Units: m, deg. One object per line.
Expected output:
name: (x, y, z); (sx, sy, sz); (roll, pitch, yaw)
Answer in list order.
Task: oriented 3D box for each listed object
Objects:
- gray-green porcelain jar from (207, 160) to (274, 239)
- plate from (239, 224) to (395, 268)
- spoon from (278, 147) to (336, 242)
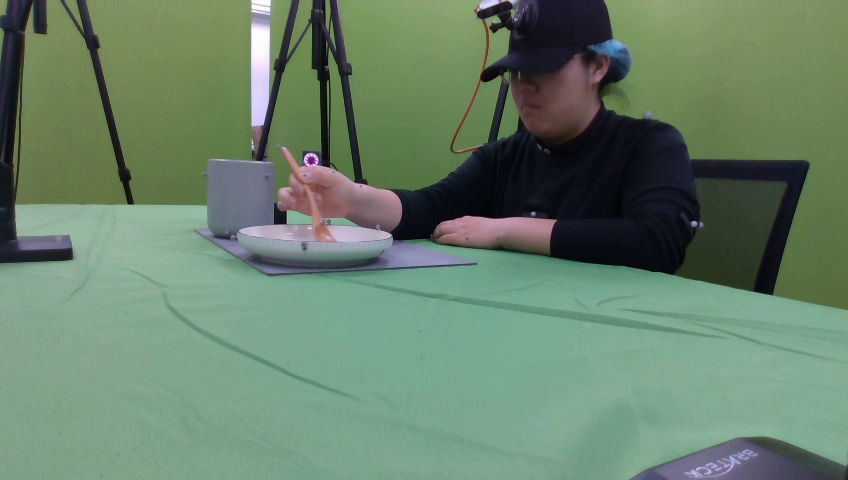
gray-green porcelain jar: (-0.304, -0.068, 1.003); (0.106, 0.126, 0.106); (3, 7, 0)
plate: (-0.144, 0.007, 0.823); (0.208, 0.039, 0.207); (3, 7, 0)
spoon: (-0.161, -0.057, 0.839); (0.021, 0.193, 0.042); (-38, -24, 27)
